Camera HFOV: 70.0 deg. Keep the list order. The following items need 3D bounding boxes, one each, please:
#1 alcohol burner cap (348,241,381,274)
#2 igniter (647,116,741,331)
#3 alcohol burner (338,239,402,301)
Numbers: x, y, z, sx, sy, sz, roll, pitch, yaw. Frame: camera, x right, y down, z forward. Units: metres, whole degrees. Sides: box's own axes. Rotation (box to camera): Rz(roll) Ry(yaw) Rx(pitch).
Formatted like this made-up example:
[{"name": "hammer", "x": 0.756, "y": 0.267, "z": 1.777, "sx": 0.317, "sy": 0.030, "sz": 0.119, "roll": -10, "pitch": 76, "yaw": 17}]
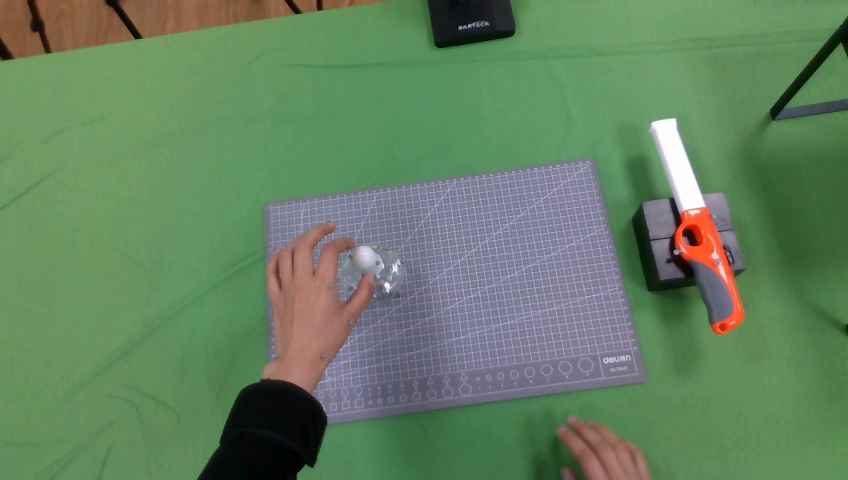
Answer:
[{"name": "alcohol burner cap", "x": -0.069, "y": 0.019, "z": 0.687, "sx": 0.034, "sy": 0.048, "sz": 0.033, "roll": -2, "pitch": 75, "yaw": 7}, {"name": "igniter", "x": 0.317, "y": -0.027, "z": 0.717, "sx": 0.057, "sy": 0.025, "sz": 0.274, "roll": -9, "pitch": 67, "yaw": 1}, {"name": "alcohol burner", "x": -0.066, "y": 0.030, "z": 0.721, "sx": 0.078, "sy": 0.120, "sz": 0.077, "roll": 0, "pitch": 69, "yaw": 2}]
